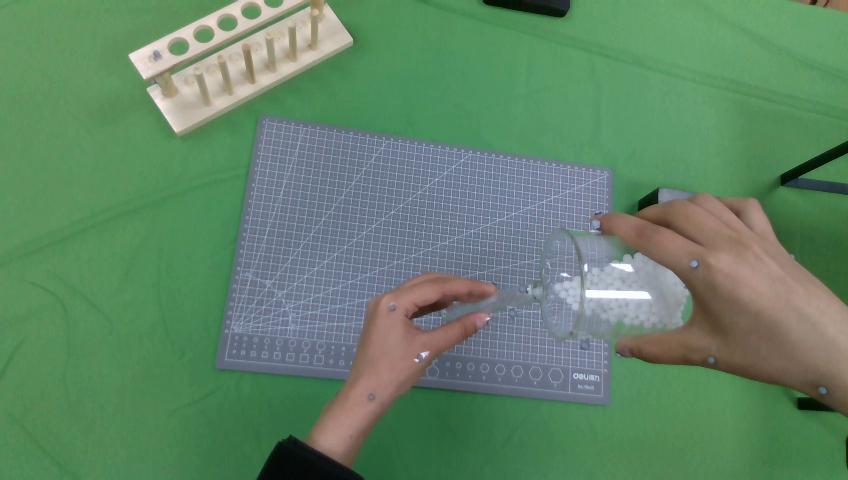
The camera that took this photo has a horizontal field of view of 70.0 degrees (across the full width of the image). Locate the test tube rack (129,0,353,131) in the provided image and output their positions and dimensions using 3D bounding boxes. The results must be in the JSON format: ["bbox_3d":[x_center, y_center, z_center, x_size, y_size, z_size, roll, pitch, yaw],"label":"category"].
[{"bbox_3d":[-0.199,-0.226,0.699,0.242,0.085,0.066,-34,84,-16],"label":"test tube rack"}]

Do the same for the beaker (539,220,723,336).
[{"bbox_3d":[0.134,0.028,0.404,0.100,0.084,0.073,2,79,-9],"label":"beaker"}]

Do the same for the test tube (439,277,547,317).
[{"bbox_3d":[0.051,0.049,0.497,0.017,0.150,0.017,6,75,-25],"label":"test tube"}]
